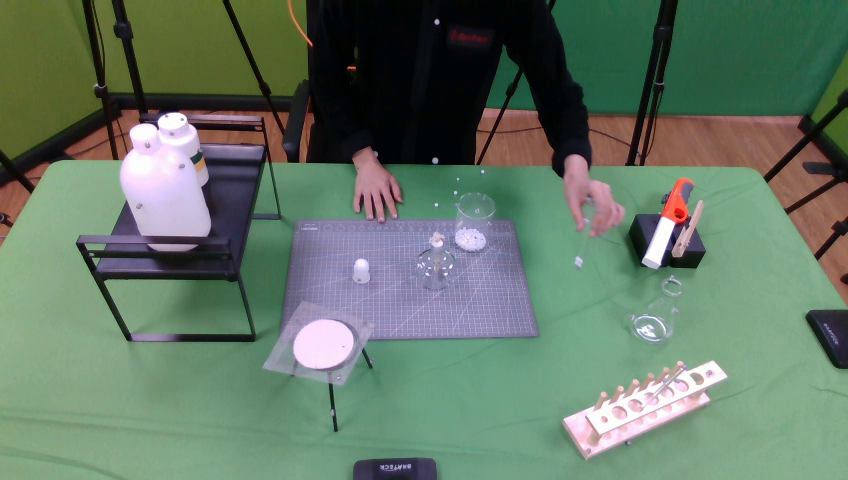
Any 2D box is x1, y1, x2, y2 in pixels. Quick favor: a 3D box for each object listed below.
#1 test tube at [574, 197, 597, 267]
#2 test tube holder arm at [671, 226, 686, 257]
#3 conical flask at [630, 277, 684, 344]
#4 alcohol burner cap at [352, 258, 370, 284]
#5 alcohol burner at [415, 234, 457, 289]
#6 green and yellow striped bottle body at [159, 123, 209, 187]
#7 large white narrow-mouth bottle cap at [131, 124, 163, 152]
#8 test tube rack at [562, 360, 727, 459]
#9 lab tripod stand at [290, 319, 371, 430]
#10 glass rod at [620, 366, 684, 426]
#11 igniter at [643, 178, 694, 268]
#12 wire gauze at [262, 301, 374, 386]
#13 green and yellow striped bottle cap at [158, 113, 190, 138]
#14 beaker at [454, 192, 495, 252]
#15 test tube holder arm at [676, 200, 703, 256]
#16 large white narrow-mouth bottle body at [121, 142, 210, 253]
[{"bbox_3d":[0.265,-0.010,0.997,0.017,0.151,0.017,-1,44,1],"label":"test tube"},{"bbox_3d":[0.494,0.001,1.167,0.010,0.015,0.087,1,36,42],"label":"test tube holder arm"},{"bbox_3d":[0.408,0.117,1.045,0.075,0.122,0.075,2,46,-2],"label":"conical flask"},{"bbox_3d":[-0.117,0.055,1.118,0.034,0.048,0.033,2,46,-1],"label":"alcohol burner cap"},{"bbox_3d":[0.022,0.033,1.100,0.078,0.120,0.077,1,47,-1],"label":"alcohol burner"},{"bbox_3d":[-0.395,-0.145,0.989,0.063,0.120,0.063,2,46,-2],"label":"green and yellow striped bottle body"},{"bbox_3d":[-0.371,-0.137,0.812,0.038,0.024,0.037,3,46,-3],"label":"large white narrow-mouth bottle cap"},{"bbox_3d":[0.341,0.247,0.940,0.243,0.085,0.066,-16,49,-18],"label":"test tube rack"},{"bbox_3d":[-0.146,0.194,0.923,0.148,0.132,0.147,1,47,-1],"label":"lab tripod stand"},{"bbox_3d":[0.322,0.227,0.866,0.008,0.200,0.008,5,51,-7],"label":"glass rod"},{"bbox_3d":[0.488,-0.042,1.204,0.057,0.025,0.276,30,52,11],"label":"igniter"},{"bbox_3d":[-0.150,0.148,0.873,0.121,0.011,0.124,14,46,12],"label":"wire gauze"},{"bbox_3d":[-0.393,-0.180,0.951,0.045,0.020,0.045,2,44,-2],"label":"green and yellow striped bottle cap"},{"bbox_3d":[0.097,-0.034,1.180,0.074,0.101,0.084,23,48,17],"label":"beaker"},{"bbox_3d":[0.522,-0.025,1.190,0.013,0.015,0.178,0,36,41],"label":"test tube holder arm"},{"bbox_3d":[-0.378,-0.077,0.875,0.102,0.195,0.101,3,46,-3],"label":"large white narrow-mouth bottle body"}]
